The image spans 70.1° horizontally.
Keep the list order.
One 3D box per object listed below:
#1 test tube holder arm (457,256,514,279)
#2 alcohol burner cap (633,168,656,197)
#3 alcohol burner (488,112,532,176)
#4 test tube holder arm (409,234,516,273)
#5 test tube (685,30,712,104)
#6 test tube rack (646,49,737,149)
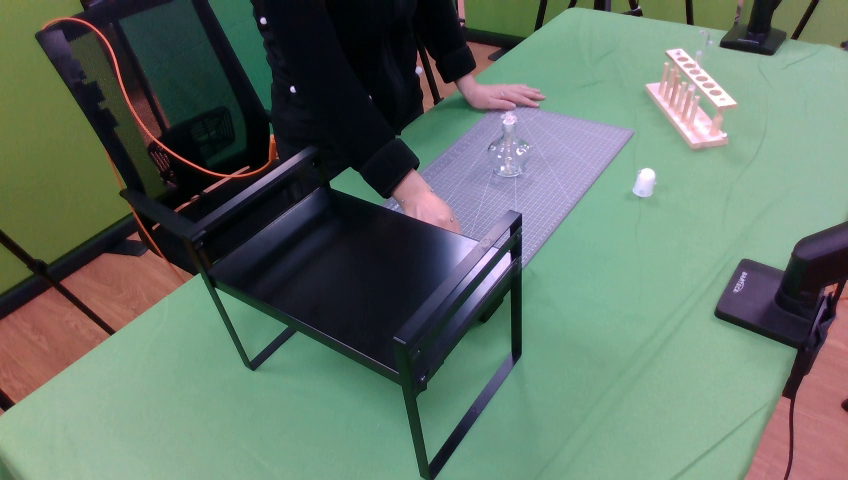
[{"bbox_3d":[0.085,0.035,0.846,0.087,0.015,0.010,19,73,33],"label":"test tube holder arm"},{"bbox_3d":[0.374,-0.099,1.018,0.034,0.048,0.033,0,41,1],"label":"alcohol burner cap"},{"bbox_3d":[0.154,-0.176,1.084,0.078,0.119,0.077,-3,41,3],"label":"alcohol burner"},{"bbox_3d":[0.052,0.018,0.872,0.177,0.015,0.013,18,73,33],"label":"test tube holder arm"},{"bbox_3d":[0.521,-0.325,1.150,0.017,0.151,0.017,-3,45,3],"label":"test tube"},{"bbox_3d":[0.511,-0.280,1.175,0.067,0.085,0.241,-8,41,0],"label":"test tube rack"}]
